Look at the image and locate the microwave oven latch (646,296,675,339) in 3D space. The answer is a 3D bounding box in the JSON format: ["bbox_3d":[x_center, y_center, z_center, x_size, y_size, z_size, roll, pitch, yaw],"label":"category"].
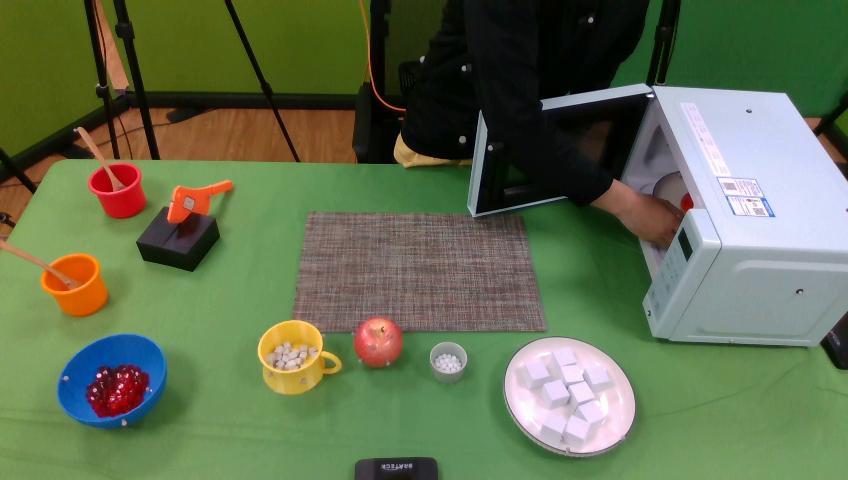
[{"bbox_3d":[0.412,0.134,1.061,0.030,0.029,0.078,4,45,1],"label":"microwave oven latch"}]

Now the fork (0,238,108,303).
[{"bbox_3d":[-0.633,0.048,1.017,0.208,0.018,0.028,40,43,-27],"label":"fork"}]

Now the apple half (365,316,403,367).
[{"bbox_3d":[-0.063,0.165,1.000,0.053,0.075,0.080,-16,45,-24],"label":"apple half"}]

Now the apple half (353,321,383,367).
[{"bbox_3d":[-0.097,0.177,0.984,0.033,0.081,0.081,-16,49,-25],"label":"apple half"}]

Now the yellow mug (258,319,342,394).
[{"bbox_3d":[-0.195,0.188,0.972,0.131,0.064,0.099,9,47,4],"label":"yellow mug"}]

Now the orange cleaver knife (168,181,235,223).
[{"bbox_3d":[-0.436,-0.078,1.196,0.012,0.077,0.211,16,15,10],"label":"orange cleaver knife"}]

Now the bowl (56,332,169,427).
[{"bbox_3d":[-0.456,0.222,0.912,0.151,0.077,0.150,2,46,-2],"label":"bowl"}]

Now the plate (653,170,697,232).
[{"bbox_3d":[0.555,-0.059,1.197,0.209,0.038,0.208,3,45,-2],"label":"plate"}]

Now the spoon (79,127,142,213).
[{"bbox_3d":[-0.624,-0.139,1.203,0.041,0.021,0.194,-33,101,-25],"label":"spoon"}]

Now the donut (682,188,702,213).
[{"bbox_3d":[0.555,-0.066,1.184,0.099,0.048,0.098,3,44,-3],"label":"donut"}]

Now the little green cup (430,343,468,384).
[{"bbox_3d":[0.039,0.204,0.993,0.061,0.039,0.061,3,46,-2],"label":"little green cup"}]

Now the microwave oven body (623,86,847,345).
[{"bbox_3d":[0.567,-0.053,1.118,0.326,0.261,0.439,2,45,-1],"label":"microwave oven body"}]

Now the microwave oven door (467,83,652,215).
[{"bbox_3d":[0.266,-0.181,1.214,0.356,0.245,0.039,-12,49,-15],"label":"microwave oven door"}]

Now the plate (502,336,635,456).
[{"bbox_3d":[0.225,0.248,0.963,0.208,0.039,0.206,2,46,-2],"label":"plate"}]
